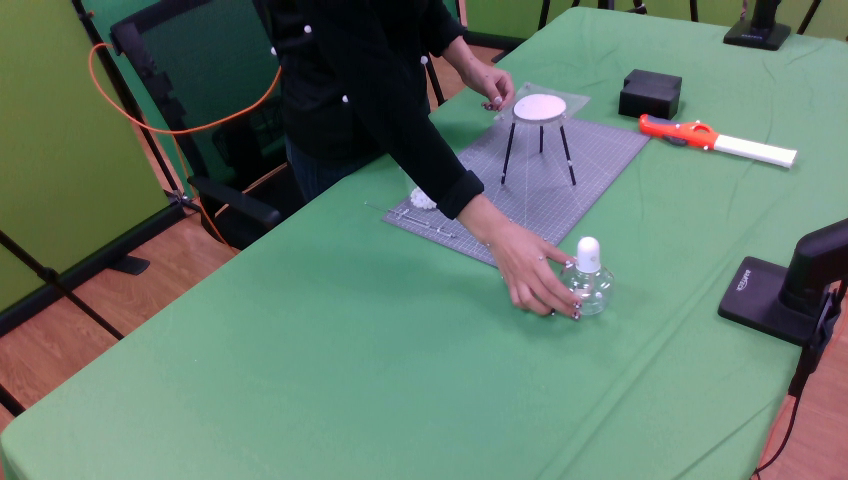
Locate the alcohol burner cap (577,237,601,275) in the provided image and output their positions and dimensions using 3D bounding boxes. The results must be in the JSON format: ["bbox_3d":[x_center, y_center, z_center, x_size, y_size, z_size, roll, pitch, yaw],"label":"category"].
[{"bbox_3d":[0.217,0.018,0.792,0.034,0.048,0.033,-7,35,5],"label":"alcohol burner cap"}]

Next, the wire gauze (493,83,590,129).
[{"bbox_3d":[0.198,-0.224,1.012,0.120,0.011,0.125,20,48,28],"label":"wire gauze"}]

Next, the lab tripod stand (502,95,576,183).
[{"bbox_3d":[0.204,-0.174,1.056,0.148,0.132,0.147,-4,40,4],"label":"lab tripod stand"}]

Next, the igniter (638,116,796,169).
[{"bbox_3d":[0.517,-0.181,1.093,0.274,0.025,0.057,23,65,32],"label":"igniter"}]

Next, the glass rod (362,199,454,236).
[{"bbox_3d":[-0.031,-0.041,1.041,0.198,0.008,0.008,22,50,31],"label":"glass rod"}]

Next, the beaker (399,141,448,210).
[{"bbox_3d":[0.003,-0.108,1.043,0.074,0.101,0.083,-19,42,-10],"label":"beaker"}]

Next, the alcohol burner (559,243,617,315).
[{"bbox_3d":[0.222,0.045,0.816,0.078,0.119,0.077,-4,42,4],"label":"alcohol burner"}]
